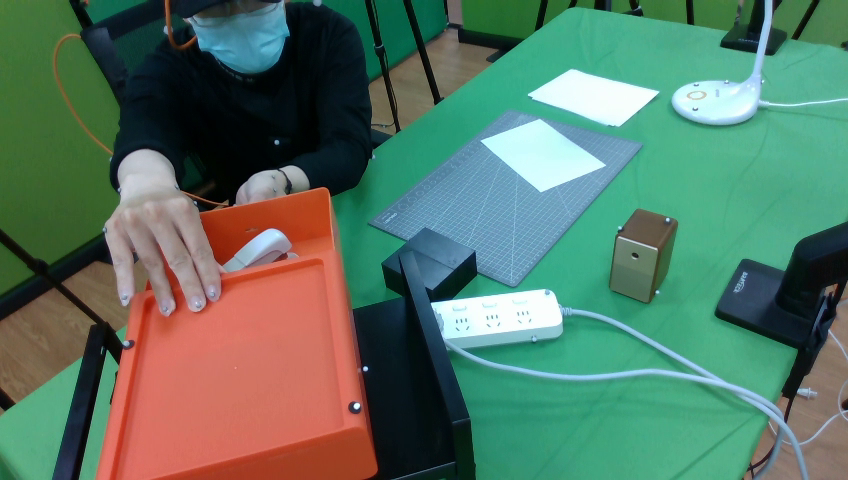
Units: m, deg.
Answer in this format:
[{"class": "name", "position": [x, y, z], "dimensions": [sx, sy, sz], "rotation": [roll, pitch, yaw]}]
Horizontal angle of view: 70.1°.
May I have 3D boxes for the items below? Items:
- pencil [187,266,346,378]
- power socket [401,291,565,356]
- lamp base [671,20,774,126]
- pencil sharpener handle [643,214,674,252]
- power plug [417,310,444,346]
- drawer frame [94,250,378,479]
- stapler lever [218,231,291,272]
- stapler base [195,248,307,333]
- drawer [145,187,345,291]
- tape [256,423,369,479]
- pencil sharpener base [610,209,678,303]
[{"class": "pencil", "position": [-0.154, 0.078, 0.619], "dimensions": [0.012, 0.012, 0.195], "rotation": [30, 52, 35]}, {"class": "power socket", "position": [0.080, 0.112, 0.822], "dimensions": [0.227, 0.033, 0.072], "rotation": [-6, 41, 0]}, {"class": "lamp base", "position": [0.581, -0.332, 1.154], "dimensions": [0.179, 0.181, 0.160], "rotation": [2, 41, 7]}, {"class": "pencil sharpener handle", "position": [0.337, -0.016, 0.857], "dimensions": [0.035, 0.068, 0.031], "rotation": [1, 35, 44]}, {"class": "power plug", "position": [0.006, 0.122, 0.785], "dimensions": [0.035, 0.053, 0.072], "rotation": [0, 40, 9]}, {"class": "drawer frame", "position": [-0.156, 0.119, 0.532], "dimensions": [0.202, 0.083, 0.212], "rotation": [-13, 41, -7]}, {"class": "stapler lever", "position": [-0.195, 0.033, 0.642], "dimensions": [0.118, 0.040, 0.026], "rotation": [-34, 45, -20]}, {"class": "stapler base", "position": [-0.190, 0.047, 0.658], "dimensions": [0.131, 0.024, 0.041], "rotation": [-37, 46, -18]}, {"class": "drawer", "position": [-0.181, 0.048, 0.624], "dimensions": [0.195, 0.073, 0.210], "rotation": [-12, 41, -6]}, {"class": "tape", "position": [-0.121, 0.263, 0.660], "dimensions": [0.117, 0.053, 0.116], "rotation": [-5, 39, 4]}, {"class": "pencil sharpener base", "position": [0.304, 0.021, 0.839], "dimensions": [0.061, 0.107, 0.077], "rotation": [21, 48, 30]}]
